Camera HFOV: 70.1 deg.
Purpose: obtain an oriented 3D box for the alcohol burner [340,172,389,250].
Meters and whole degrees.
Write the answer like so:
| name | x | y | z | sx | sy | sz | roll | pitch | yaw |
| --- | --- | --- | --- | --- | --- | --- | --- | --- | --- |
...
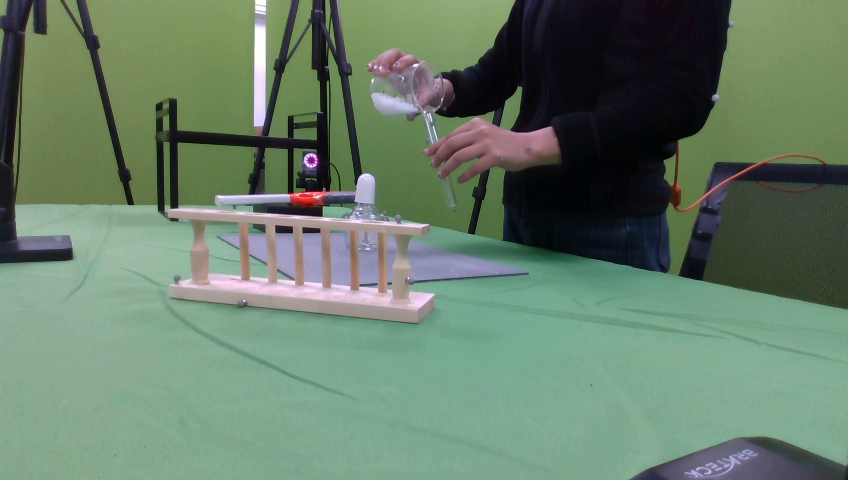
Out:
| name | x | y | z | sx | sy | sz | roll | pitch | yaw |
| --- | --- | --- | --- | --- | --- | --- | --- | --- | --- |
| alcohol burner | -0.094 | -0.045 | 0.939 | 0.078 | 0.119 | 0.078 | 0 | 7 | 0 |

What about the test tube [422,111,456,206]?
| name | x | y | z | sx | sy | sz | roll | pitch | yaw |
| --- | --- | --- | --- | --- | --- | --- | --- | --- | --- |
| test tube | 0.022 | -0.121 | 0.894 | 0.017 | 0.150 | 0.017 | -14 | -12 | -3 |

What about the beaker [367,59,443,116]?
| name | x | y | z | sx | sy | sz | roll | pitch | yaw |
| --- | --- | --- | --- | --- | --- | --- | --- | --- | --- |
| beaker | -0.032 | -0.230 | 0.937 | 0.100 | 0.084 | 0.074 | 4 | 8 | 42 |

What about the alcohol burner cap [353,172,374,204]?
| name | x | y | z | sx | sy | sz | roll | pitch | yaw |
| --- | --- | --- | --- | --- | --- | --- | --- | --- | --- |
| alcohol burner cap | -0.092 | -0.081 | 0.935 | 0.034 | 0.048 | 0.034 | 6 | 10 | -1 |

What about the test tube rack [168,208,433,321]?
| name | x | y | z | sx | sy | sz | roll | pitch | yaw |
| --- | --- | --- | --- | --- | --- | --- | --- | --- | --- |
| test tube rack | -0.116 | 0.018 | 0.573 | 0.242 | 0.085 | 0.067 | 4 | 8 | 13 |

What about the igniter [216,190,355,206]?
| name | x | y | z | sx | sy | sz | roll | pitch | yaw |
| --- | --- | --- | --- | --- | --- | --- | --- | --- | --- |
| igniter | -0.249 | -0.079 | 1.151 | 0.278 | 0.025 | 0.057 | -4 | 11 | -27 |
